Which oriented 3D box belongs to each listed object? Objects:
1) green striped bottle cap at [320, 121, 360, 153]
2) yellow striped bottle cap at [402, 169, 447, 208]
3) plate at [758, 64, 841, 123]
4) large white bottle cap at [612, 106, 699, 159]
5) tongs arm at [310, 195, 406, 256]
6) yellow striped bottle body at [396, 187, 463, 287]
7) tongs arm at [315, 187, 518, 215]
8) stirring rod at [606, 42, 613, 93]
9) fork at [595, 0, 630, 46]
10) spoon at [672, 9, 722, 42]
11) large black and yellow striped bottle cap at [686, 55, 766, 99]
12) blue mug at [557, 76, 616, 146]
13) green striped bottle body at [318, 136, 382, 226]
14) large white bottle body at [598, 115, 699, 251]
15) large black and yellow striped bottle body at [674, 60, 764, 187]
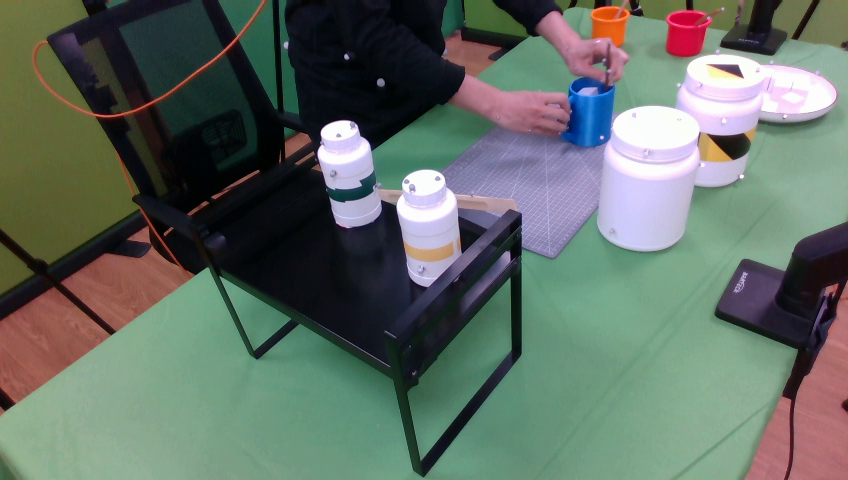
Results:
[{"bbox_3d":[-0.097,-0.120,0.699,0.044,0.020,0.044,-4,39,3],"label":"green striped bottle cap"},{"bbox_3d":[0.000,-0.052,0.604,0.044,0.019,0.044,-5,43,5],"label":"yellow striped bottle cap"},{"bbox_3d":[0.694,-0.283,1.189,0.207,0.039,0.206,-4,40,4],"label":"plate"},{"bbox_3d":[0.325,-0.153,0.850,0.115,0.018,0.114,-4,41,4],"label":"large white bottle cap"},{"bbox_3d":[-0.078,-0.013,0.944,0.028,0.028,0.384,-42,39,-23],"label":"tongs arm"},{"bbox_3d":[0.006,-0.013,0.638,0.063,0.121,0.062,-5,41,4],"label":"yellow striped bottle body"},{"bbox_3d":[-0.028,-0.060,0.988,0.382,0.027,0.051,10,45,36],"label":"tongs arm"},{"bbox_3d":[0.334,-0.273,1.102,0.006,0.177,0.014,5,40,16],"label":"stirring rod"},{"bbox_3d":[0.480,-0.556,1.453,0.028,0.019,0.207,41,103,41],"label":"fork"},{"bbox_3d":[0.606,-0.476,1.345,0.042,0.021,0.193,-6,-3,-2],"label":"spoon"},{"bbox_3d":[0.474,-0.258,0.952,0.115,0.019,0.114,-5,41,5],"label":"large black and yellow striped bottle cap"},{"bbox_3d":[0.301,-0.238,1.140,0.117,0.106,0.081,-23,43,-16],"label":"blue mug"},{"bbox_3d":[-0.090,-0.080,0.733,0.063,0.120,0.063,-5,41,4],"label":"green striped bottle body"},{"bbox_3d":[0.334,-0.090,0.906,0.130,0.185,0.130,-5,41,5],"label":"large white bottle body"},{"bbox_3d":[0.482,-0.196,1.008,0.131,0.185,0.130,-4,41,4],"label":"large black and yellow striped bottle body"}]
